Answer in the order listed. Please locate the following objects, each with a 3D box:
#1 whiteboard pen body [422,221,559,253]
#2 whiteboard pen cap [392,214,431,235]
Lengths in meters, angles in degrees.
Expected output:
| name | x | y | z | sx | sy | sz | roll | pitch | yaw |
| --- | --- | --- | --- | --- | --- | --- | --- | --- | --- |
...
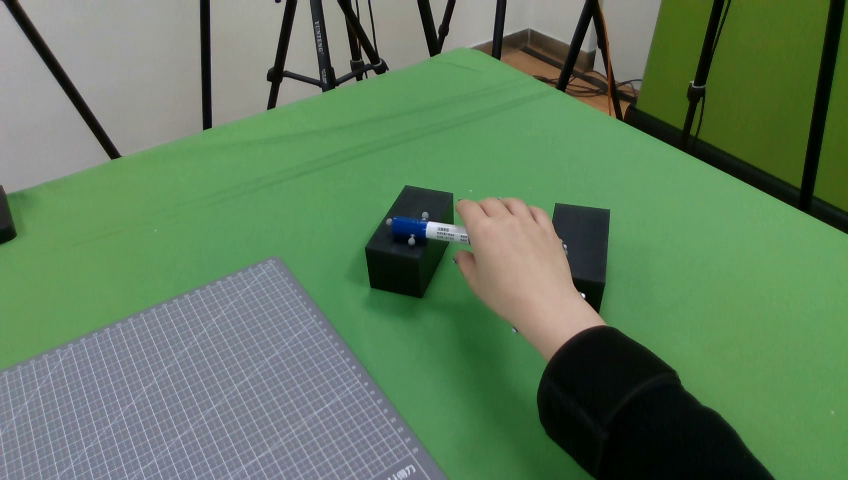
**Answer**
| name | x | y | z | sx | sy | sz | roll | pitch | yaw |
| --- | --- | --- | --- | --- | --- | --- | --- | --- | --- |
| whiteboard pen body | 0.045 | -0.005 | 0.521 | 0.140 | 0.017 | 0.017 | 7 | 41 | 12 |
| whiteboard pen cap | -0.011 | -0.014 | 0.533 | 0.033 | 0.018 | 0.018 | 8 | 41 | 13 |
